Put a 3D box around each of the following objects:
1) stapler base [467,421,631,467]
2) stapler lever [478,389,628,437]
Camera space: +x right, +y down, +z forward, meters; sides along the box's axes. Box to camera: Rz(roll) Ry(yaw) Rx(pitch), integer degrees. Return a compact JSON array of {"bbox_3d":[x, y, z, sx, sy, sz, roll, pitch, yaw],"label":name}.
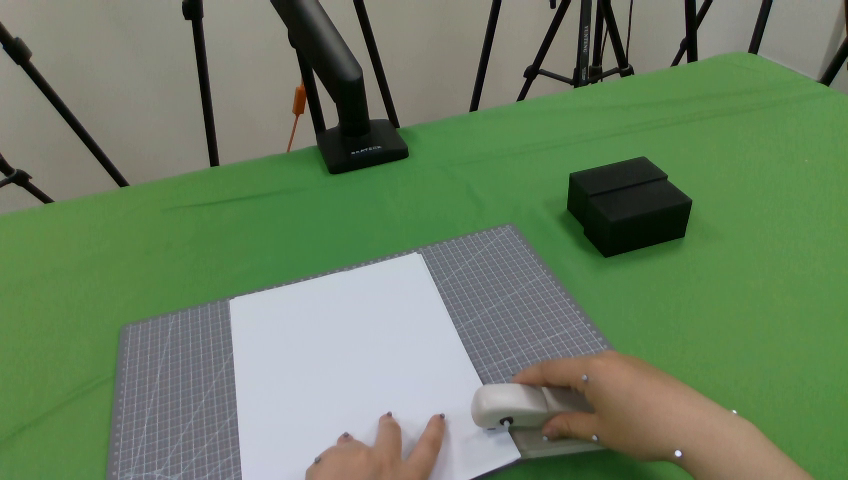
[{"bbox_3d":[0.100,0.153,0.490,0.131,0.024,0.041,-7,44,-4],"label":"stapler base"},{"bbox_3d":[0.101,0.132,0.472,0.118,0.040,0.026,-5,44,-5],"label":"stapler lever"}]
